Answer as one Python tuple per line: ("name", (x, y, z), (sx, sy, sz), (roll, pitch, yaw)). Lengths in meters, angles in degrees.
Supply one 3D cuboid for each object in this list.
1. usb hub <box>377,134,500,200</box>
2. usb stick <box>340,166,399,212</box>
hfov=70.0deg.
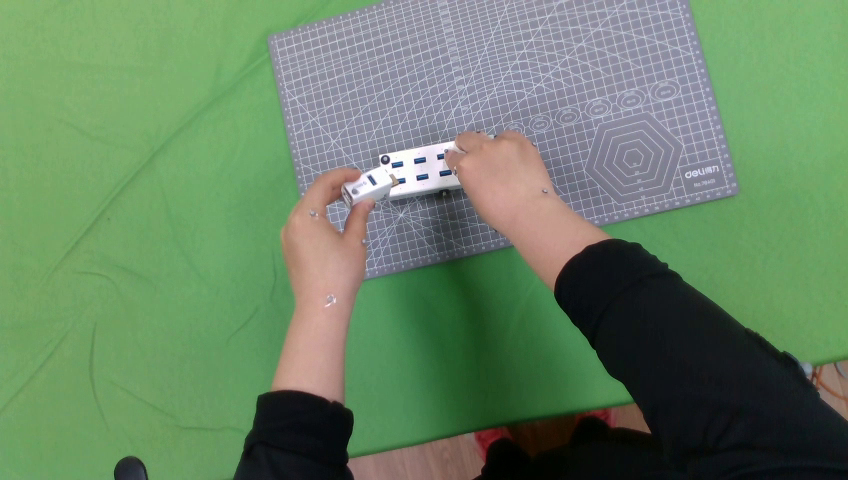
("usb hub", (0.015, -0.078, 0.645), (0.125, 0.025, 0.049), (-9, 84, 9))
("usb stick", (-0.049, -0.051, 0.573), (0.059, 0.027, 0.021), (-26, 68, -28))
